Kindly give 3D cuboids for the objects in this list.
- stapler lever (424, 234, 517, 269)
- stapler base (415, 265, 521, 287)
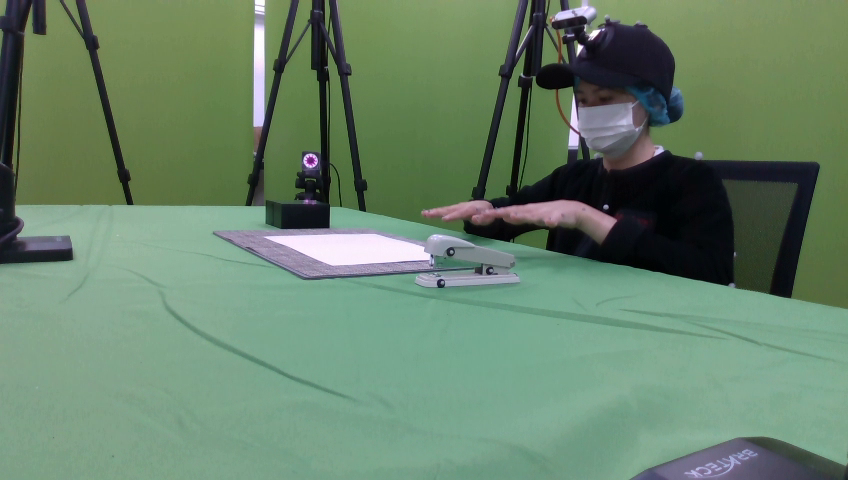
[{"bbox_3d":[0.056,0.014,0.714,0.119,0.040,0.026,1,9,-27],"label":"stapler lever"},{"bbox_3d":[0.053,0.039,0.716,0.131,0.024,0.041,1,9,-27],"label":"stapler base"}]
